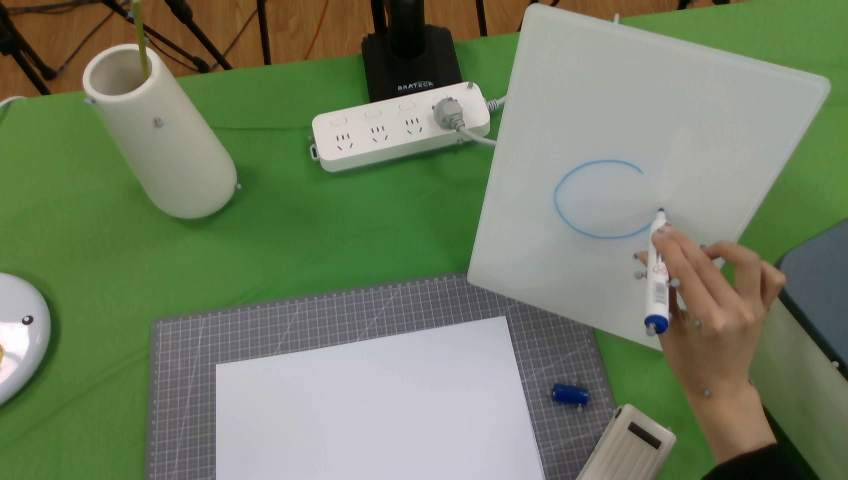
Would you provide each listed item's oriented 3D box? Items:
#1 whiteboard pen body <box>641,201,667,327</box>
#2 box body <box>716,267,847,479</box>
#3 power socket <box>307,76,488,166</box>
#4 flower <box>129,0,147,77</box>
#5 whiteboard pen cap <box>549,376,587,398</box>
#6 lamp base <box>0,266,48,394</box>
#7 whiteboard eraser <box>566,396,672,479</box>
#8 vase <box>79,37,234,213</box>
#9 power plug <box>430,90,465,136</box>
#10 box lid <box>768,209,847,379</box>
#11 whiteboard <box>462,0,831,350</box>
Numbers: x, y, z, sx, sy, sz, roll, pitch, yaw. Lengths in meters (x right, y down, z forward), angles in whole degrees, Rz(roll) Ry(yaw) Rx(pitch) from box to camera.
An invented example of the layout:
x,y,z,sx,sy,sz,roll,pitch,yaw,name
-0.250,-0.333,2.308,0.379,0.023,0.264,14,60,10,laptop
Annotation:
x,y,z,sx,sy,sz,roll,pitch,yaw,name
0.175,0.011,0.458,0.017,0.017,0.140,16,44,10,whiteboard pen body
0.466,0.139,0.504,0.254,0.161,0.361,-26,66,-11,box body
-0.030,-0.144,0.728,0.227,0.033,0.071,-13,65,-6,power socket
-0.250,-0.143,0.548,0.038,0.362,0.044,39,60,0,flower
0.139,0.143,0.587,0.033,0.018,0.018,9,64,3,whiteboard pen cap
-0.481,0.058,0.553,0.178,0.182,0.160,21,65,15,lamp base
0.171,0.201,0.544,0.055,0.042,0.112,33,69,17,whiteboard eraser
-0.269,-0.111,0.623,0.098,0.201,0.097,-1,63,2,vase
0.026,-0.140,0.700,0.035,0.053,0.072,-4,69,-1,power plug
0.463,0.103,0.438,0.263,0.015,0.368,-26,66,-10,box lid
0.182,-0.075,0.572,0.216,0.308,0.143,20,44,12,whiteboard
